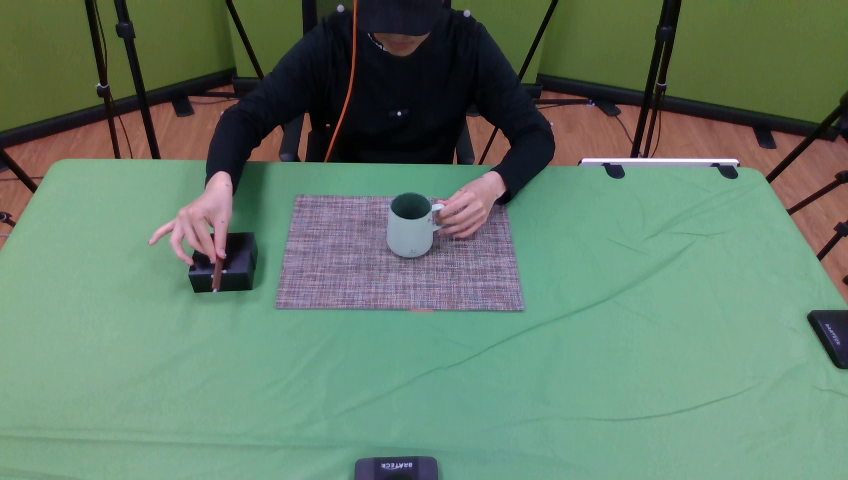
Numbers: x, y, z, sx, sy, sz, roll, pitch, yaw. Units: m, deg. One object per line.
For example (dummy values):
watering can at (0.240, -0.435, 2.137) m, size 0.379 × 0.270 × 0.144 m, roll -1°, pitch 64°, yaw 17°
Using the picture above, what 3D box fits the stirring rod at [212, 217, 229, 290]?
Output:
stirring rod at (-0.361, 0.021, 1.078) m, size 0.006 × 0.014 × 0.175 m, roll -25°, pitch 43°, yaw 15°

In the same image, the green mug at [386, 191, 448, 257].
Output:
green mug at (-0.012, -0.034, 1.165) m, size 0.125 × 0.105 × 0.092 m, roll -17°, pitch 49°, yaw -19°
